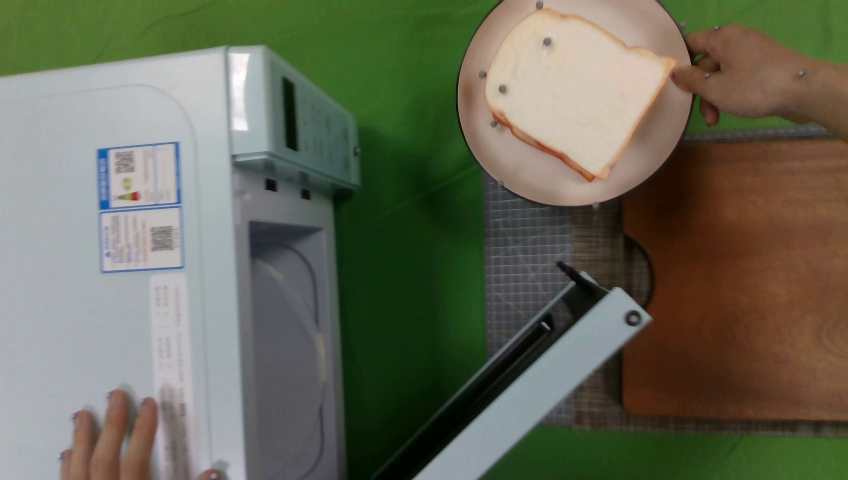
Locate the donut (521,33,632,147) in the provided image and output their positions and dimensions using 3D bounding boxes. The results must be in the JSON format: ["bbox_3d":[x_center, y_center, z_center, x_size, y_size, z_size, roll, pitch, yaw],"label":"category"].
[{"bbox_3d":[0.132,-0.130,0.528,0.099,0.048,0.099,0,90,-13],"label":"donut"}]

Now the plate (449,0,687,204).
[{"bbox_3d":[0.128,-0.137,0.555,0.207,0.039,0.208,1,98,9],"label":"plate"}]

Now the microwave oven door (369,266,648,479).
[{"bbox_3d":[0.034,0.165,0.525,0.039,0.244,0.356,44,97,7],"label":"microwave oven door"}]

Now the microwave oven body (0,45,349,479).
[{"bbox_3d":[-0.240,0.086,0.575,0.325,0.260,0.441,-4,90,9],"label":"microwave oven body"}]

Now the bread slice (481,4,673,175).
[{"bbox_3d":[0.115,-0.128,0.500,0.134,0.018,0.107,28,103,10],"label":"bread slice"}]

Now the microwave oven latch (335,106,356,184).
[{"bbox_3d":[-0.091,-0.101,0.646,0.030,0.029,0.079,-4,90,9],"label":"microwave oven latch"}]

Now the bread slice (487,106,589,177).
[{"bbox_3d":[0.122,-0.133,0.559,0.131,0.019,0.105,29,101,2],"label":"bread slice"}]
